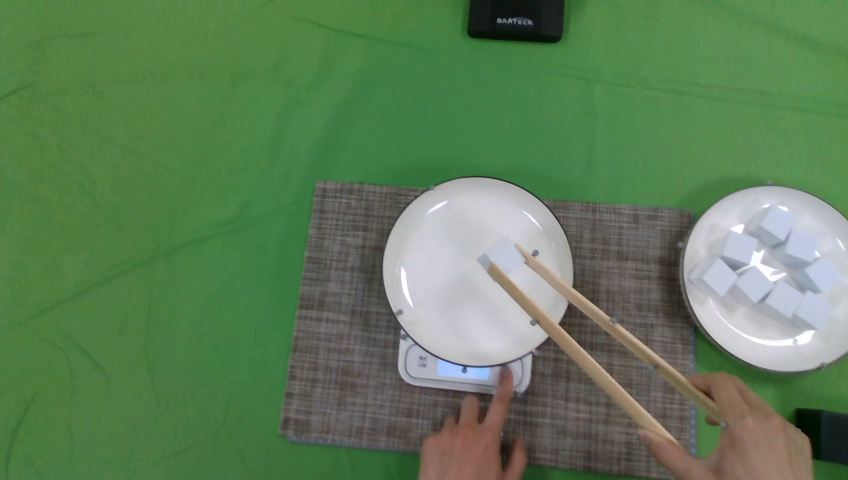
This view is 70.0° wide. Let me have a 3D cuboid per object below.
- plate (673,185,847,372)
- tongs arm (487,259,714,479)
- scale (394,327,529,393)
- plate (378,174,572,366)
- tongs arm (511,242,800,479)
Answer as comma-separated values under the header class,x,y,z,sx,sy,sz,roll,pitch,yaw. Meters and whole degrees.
class,x,y,z,sx,sy,sz,roll,pitch,yaw
plate,0.380,0.043,0.676,0.207,0.039,0.206,-1,78,3
tongs arm,0.192,0.148,0.519,0.028,0.028,0.384,-35,66,-24
scale,0.049,0.067,0.688,0.148,0.032,0.200,6,79,4
plate,0.055,0.031,0.661,0.209,0.038,0.208,-1,78,3
tongs arm,0.209,0.136,0.527,0.382,0.027,0.050,40,65,20
